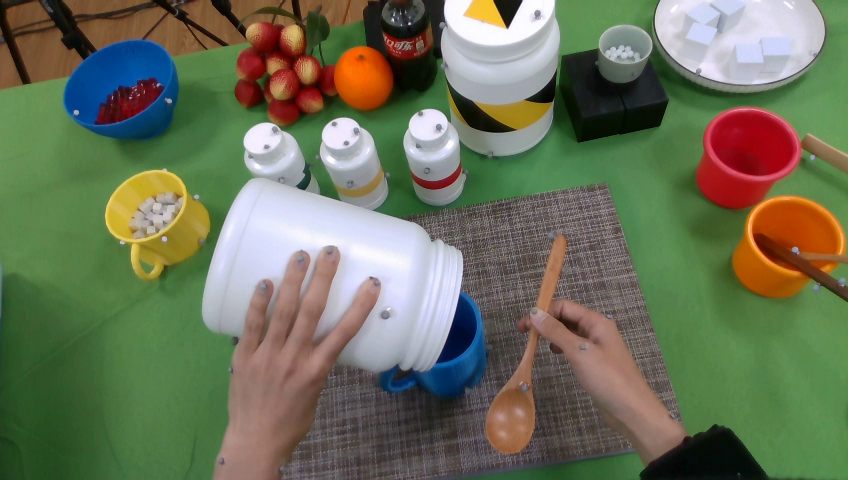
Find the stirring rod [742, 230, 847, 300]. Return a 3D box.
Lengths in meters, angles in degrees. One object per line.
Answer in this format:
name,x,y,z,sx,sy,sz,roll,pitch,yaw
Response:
stirring rod,0.359,0.020,0.585,0.014,0.006,0.175,-7,20,1

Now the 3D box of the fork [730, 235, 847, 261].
fork,0.389,0.016,0.576,0.028,0.019,0.206,-45,22,-15

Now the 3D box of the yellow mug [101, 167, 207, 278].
yellow mug,-0.327,-0.017,0.731,0.100,0.064,0.130,0,64,7

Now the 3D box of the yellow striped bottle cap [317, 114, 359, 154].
yellow striped bottle cap,-0.094,-0.116,0.662,0.044,0.019,0.044,-1,59,2

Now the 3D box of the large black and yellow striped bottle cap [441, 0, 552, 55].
large black and yellow striped bottle cap,0.075,-0.242,0.630,0.115,0.019,0.114,-4,64,9

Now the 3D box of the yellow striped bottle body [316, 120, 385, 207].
yellow striped bottle body,-0.086,-0.093,0.708,0.063,0.121,0.062,-3,62,7

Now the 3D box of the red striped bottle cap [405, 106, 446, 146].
red striped bottle cap,0.001,-0.124,0.653,0.044,0.018,0.044,-1,61,2

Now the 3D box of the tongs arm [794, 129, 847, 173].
tongs arm,0.583,-0.021,0.634,0.050,0.027,0.381,-42,66,-18

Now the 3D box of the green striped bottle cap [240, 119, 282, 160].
green striped bottle cap,-0.181,-0.111,0.670,0.044,0.020,0.044,-2,62,4

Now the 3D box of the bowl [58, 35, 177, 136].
bowl,-0.399,-0.195,0.823,0.151,0.077,0.150,-3,63,6

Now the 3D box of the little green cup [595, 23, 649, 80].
little green cup,0.233,-0.223,0.722,0.061,0.039,0.061,-2,60,4

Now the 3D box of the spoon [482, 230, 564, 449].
spoon,0.092,0.084,0.524,0.041,0.022,0.193,16,86,14

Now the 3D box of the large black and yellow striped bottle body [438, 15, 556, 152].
large black and yellow striped bottle body,0.085,-0.204,0.707,0.130,0.185,0.129,-3,63,6

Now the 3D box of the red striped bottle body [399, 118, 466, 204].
red striped bottle body,0.009,-0.098,0.700,0.063,0.121,0.062,-6,60,11

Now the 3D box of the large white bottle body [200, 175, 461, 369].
large white bottle body,-0.073,0.032,0.501,0.185,0.131,0.129,16,64,-9

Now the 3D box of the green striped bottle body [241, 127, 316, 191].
green striped bottle body,-0.173,-0.087,0.717,0.063,0.120,0.062,-3,63,6

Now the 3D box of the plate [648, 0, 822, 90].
plate,0.395,-0.272,0.785,0.209,0.038,0.207,-3,63,6

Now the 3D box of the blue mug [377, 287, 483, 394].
blue mug,0.003,0.108,0.598,0.116,0.107,0.081,-35,64,-11
